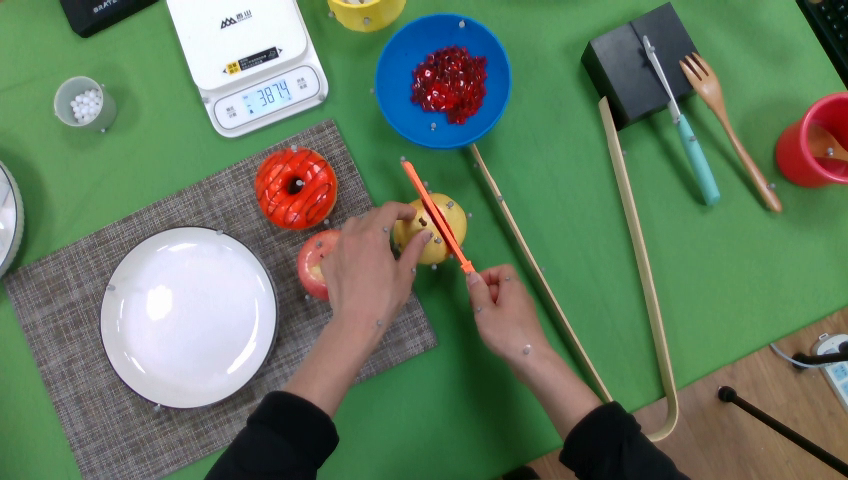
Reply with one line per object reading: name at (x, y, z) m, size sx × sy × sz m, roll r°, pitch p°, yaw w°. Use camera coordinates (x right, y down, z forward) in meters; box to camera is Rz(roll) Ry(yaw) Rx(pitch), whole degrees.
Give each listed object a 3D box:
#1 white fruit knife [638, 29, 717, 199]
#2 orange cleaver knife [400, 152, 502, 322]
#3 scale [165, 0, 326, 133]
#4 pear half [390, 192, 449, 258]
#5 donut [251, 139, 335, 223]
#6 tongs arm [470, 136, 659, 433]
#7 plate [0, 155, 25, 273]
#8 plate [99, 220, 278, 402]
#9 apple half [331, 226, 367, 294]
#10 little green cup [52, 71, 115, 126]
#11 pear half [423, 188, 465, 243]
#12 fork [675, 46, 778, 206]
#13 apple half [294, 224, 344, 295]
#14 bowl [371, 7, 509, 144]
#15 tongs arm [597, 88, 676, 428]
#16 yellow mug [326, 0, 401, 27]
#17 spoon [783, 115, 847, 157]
white fruit knife at (0.280, -0.138, 0.674) m, size 0.016 × 0.027 × 0.208 m, roll -28°, pitch 99°, yaw 1°
orange cleaver knife at (0.027, -0.007, 0.663) m, size 0.012 × 0.077 × 0.211 m, roll -30°, pitch 90°, yaw 2°
scale at (-0.217, -0.244, 0.733) m, size 0.148 × 0.031 × 0.200 m, roll -21°, pitch 85°, yaw 2°
pear half at (-0.010, -0.013, 0.667) m, size 0.056 × 0.110 × 0.076 m, roll -36°, pitch 79°, yaw 0°
donut at (-0.153, -0.069, 0.707) m, size 0.099 × 0.048 × 0.099 m, roll 0°, pitch 87°, yaw 5°
tongs arm at (0.157, 0.045, 0.690) m, size 0.051 × 0.026 × 0.384 m, roll -25°, pitch 86°, yaw -2°
plate at (-0.581, -0.028, 0.735) m, size 0.207 × 0.039 × 0.207 m, roll 0°, pitch 86°, yaw 3°
plate at (-0.268, 0.081, 0.706) m, size 0.209 × 0.038 × 0.208 m, roll 0°, pitch 86°, yaw 3°
apple half at (-0.079, 0.025, 0.680) m, size 0.033 × 0.081 × 0.081 m, roll 8°, pitch 86°, yaw 6°
little green cup at (-0.411, -0.169, 0.736) m, size 0.061 × 0.039 × 0.061 m, roll 0°, pitch 85°, yaw 4°
pear half at (0.027, -0.034, 0.678) m, size 0.031 × 0.088 × 0.070 m, roll -38°, pitch 78°, yaw -9°
fork at (0.342, -0.124, 0.677) m, size 0.028 × 0.018 × 0.208 m, roll -35°, pitch 100°, yaw -1°
apple half at (-0.117, 0.020, 0.684) m, size 0.053 × 0.075 × 0.080 m, roll 8°, pitch 89°, yaw 7°
bowl at (0.019, -0.176, 0.692) m, size 0.151 × 0.077 × 0.151 m, roll 0°, pitch 86°, yaw 3°
tongs arm at (0.237, 0.016, 0.688) m, size 0.028 × 0.028 × 0.386 m, roll -10°, pitch 86°, yaw -4°
yellow mug at (-0.089, -0.321, 0.714) m, size 0.130 × 0.064 × 0.100 m, roll 32°, pitch 88°, yaw 6°
spoon at (0.454, -0.081, 0.627) m, size 0.041 × 0.022 × 0.191 m, roll -31°, pitch 40°, yaw 0°
